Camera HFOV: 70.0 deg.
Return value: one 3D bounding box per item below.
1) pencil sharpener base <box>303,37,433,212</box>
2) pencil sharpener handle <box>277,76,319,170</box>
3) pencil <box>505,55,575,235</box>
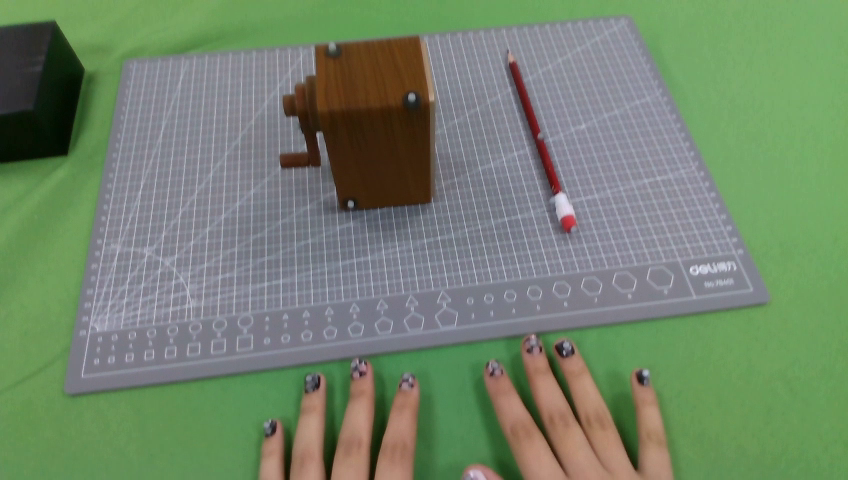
[{"bbox_3d":[-0.035,-0.073,0.408,0.077,0.108,0.061,-6,58,-3],"label":"pencil sharpener base"},{"bbox_3d":[-0.085,-0.072,0.393,0.031,0.068,0.035,-6,48,-3],"label":"pencil sharpener handle"},{"bbox_3d":[0.086,-0.083,0.475,0.012,0.012,0.192,-7,56,-5],"label":"pencil"}]
